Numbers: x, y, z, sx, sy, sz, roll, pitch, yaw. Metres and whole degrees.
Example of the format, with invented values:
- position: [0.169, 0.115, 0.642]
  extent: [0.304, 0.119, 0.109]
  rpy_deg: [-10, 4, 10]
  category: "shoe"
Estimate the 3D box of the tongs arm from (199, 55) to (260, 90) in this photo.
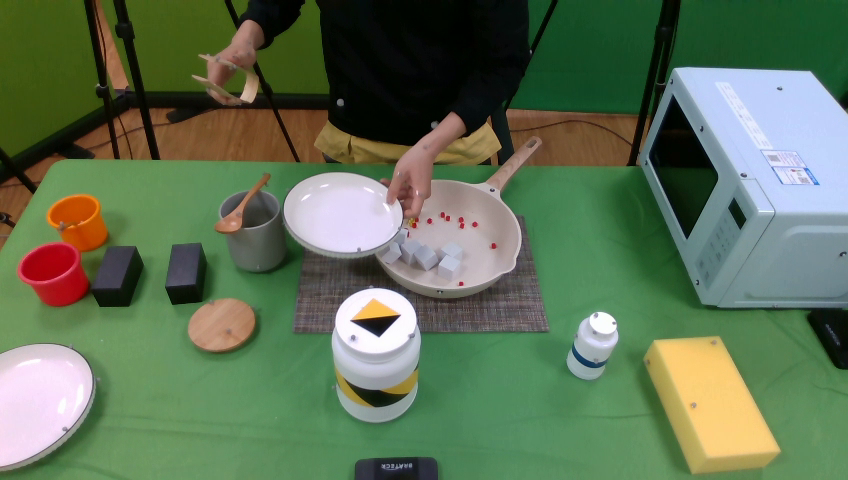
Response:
- position: [-0.340, -0.294, 1.084]
  extent: [0.026, 0.051, 0.383]
  rpy_deg: [15, 13, -8]
  category: "tongs arm"

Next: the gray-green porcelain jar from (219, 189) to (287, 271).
- position: [-0.310, -0.014, 1.114]
  extent: [0.106, 0.127, 0.105]
  rpy_deg: [2, 46, -2]
  category: "gray-green porcelain jar"

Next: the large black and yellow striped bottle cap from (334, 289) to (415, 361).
- position: [-0.069, 0.117, 0.850]
  extent: [0.115, 0.019, 0.114]
  rpy_deg: [2, 45, -2]
  category: "large black and yellow striped bottle cap"

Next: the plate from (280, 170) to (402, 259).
- position: [-0.143, -0.040, 1.051]
  extent: [0.208, 0.039, 0.206]
  rpy_deg: [7, 45, -7]
  category: "plate"

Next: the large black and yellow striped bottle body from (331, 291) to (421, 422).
- position: [-0.071, 0.175, 0.912]
  extent: [0.131, 0.185, 0.130]
  rpy_deg: [2, 47, -2]
  category: "large black and yellow striped bottle body"

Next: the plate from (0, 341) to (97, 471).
- position: [-0.599, 0.247, 0.904]
  extent: [0.209, 0.038, 0.208]
  rpy_deg: [2, 47, -2]
  category: "plate"

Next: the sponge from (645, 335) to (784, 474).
- position: [0.449, 0.253, 0.956]
  extent: [0.118, 0.061, 0.205]
  rpy_deg: [-4, 46, -7]
  category: "sponge"

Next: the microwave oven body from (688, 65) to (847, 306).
- position: [0.669, -0.111, 1.176]
  extent: [0.326, 0.261, 0.439]
  rpy_deg: [0, 46, -3]
  category: "microwave oven body"

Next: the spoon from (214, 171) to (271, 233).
- position: [-0.312, -0.070, 1.070]
  extent: [0.041, 0.022, 0.193]
  rpy_deg: [7, 43, 11]
  category: "spoon"

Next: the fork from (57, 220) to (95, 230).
- position: [-0.624, -0.027, 1.086]
  extent: [0.028, 0.018, 0.207]
  rpy_deg: [-2, 2, -17]
  category: "fork"

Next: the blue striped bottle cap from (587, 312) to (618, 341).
- position: [0.279, 0.134, 0.946]
  extent: [0.044, 0.021, 0.044]
  rpy_deg: [2, 45, -2]
  category: "blue striped bottle cap"

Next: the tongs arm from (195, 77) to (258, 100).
- position: [-0.346, -0.273, 1.088]
  extent: [0.028, 0.028, 0.386]
  rpy_deg: [11, 9, -7]
  category: "tongs arm"

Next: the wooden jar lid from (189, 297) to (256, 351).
- position: [-0.342, 0.145, 1.033]
  extent: [0.108, 0.021, 0.107]
  rpy_deg: [2, 45, -2]
  category: "wooden jar lid"

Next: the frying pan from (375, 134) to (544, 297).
- position: [0.104, -0.069, 1.205]
  extent: [0.305, 0.103, 0.487]
  rpy_deg: [32, 61, 23]
  category: "frying pan"

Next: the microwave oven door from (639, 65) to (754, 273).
- position: [0.522, -0.147, 1.193]
  extent: [0.039, 0.245, 0.353]
  rpy_deg: [0, 47, -3]
  category: "microwave oven door"

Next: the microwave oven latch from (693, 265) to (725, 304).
- position: [0.523, 0.081, 1.116]
  extent: [0.030, 0.029, 0.078]
  rpy_deg: [2, 46, -1]
  category: "microwave oven latch"

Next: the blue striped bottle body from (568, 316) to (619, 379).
- position: [0.276, 0.168, 0.984]
  extent: [0.063, 0.121, 0.062]
  rpy_deg: [2, 46, -2]
  category: "blue striped bottle body"
